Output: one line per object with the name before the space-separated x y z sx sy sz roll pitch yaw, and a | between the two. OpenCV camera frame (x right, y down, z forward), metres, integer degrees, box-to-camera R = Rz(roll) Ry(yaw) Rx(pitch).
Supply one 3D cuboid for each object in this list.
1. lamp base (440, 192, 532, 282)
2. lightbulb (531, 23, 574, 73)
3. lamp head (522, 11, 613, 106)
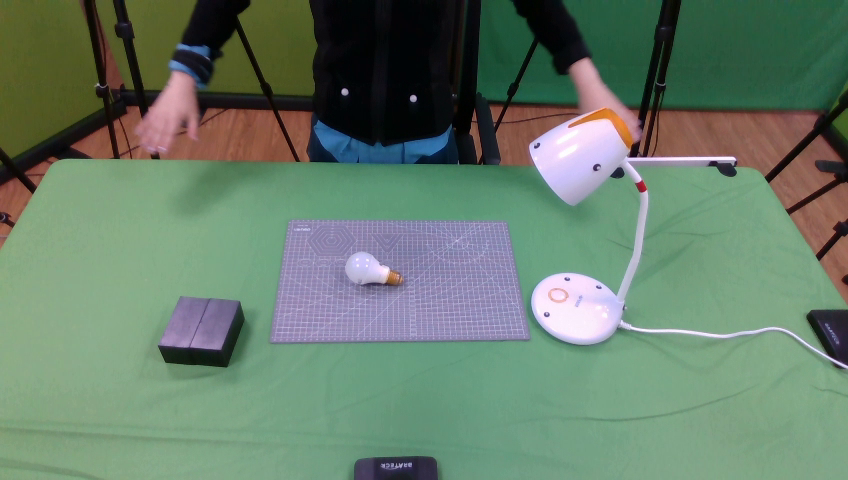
lamp base | 0.127 -0.032 1.123 0.179 0.181 0.159 11 46 2
lightbulb | 0.194 -0.268 0.886 0.059 0.108 0.059 -11 61 22
lamp head | 0.217 -0.248 0.886 0.112 0.123 0.111 -25 46 30
